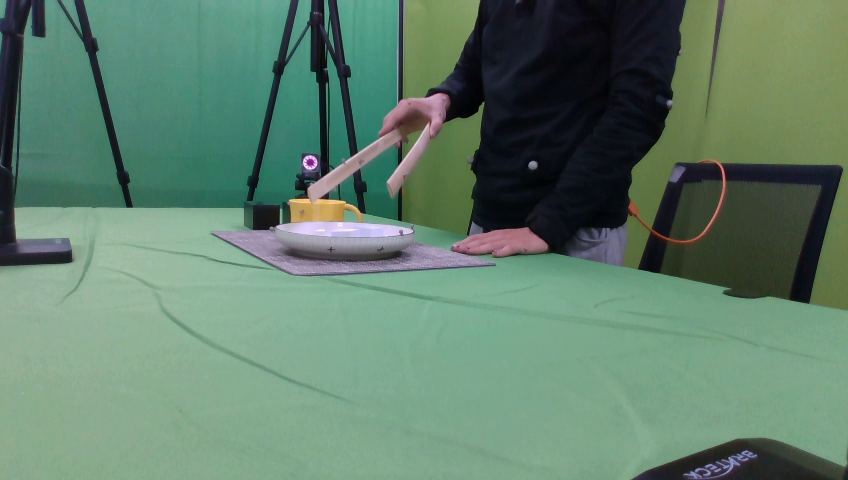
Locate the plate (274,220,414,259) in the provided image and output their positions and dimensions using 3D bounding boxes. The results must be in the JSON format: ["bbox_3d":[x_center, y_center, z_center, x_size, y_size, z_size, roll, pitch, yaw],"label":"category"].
[{"bbox_3d":[-0.118,-0.001,0.903,0.208,0.039,0.207,3,7,0],"label":"plate"}]

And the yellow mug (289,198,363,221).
[{"bbox_3d":[-0.174,-0.039,1.072,0.131,0.064,0.100,3,7,0],"label":"yellow mug"}]

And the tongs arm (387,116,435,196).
[{"bbox_3d":[-0.018,-0.154,1.030,0.028,0.028,0.387,-11,22,15],"label":"tongs arm"}]

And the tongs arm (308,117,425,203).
[{"bbox_3d":[-0.086,-0.149,1.054,0.050,0.026,0.385,-4,24,23],"label":"tongs arm"}]
